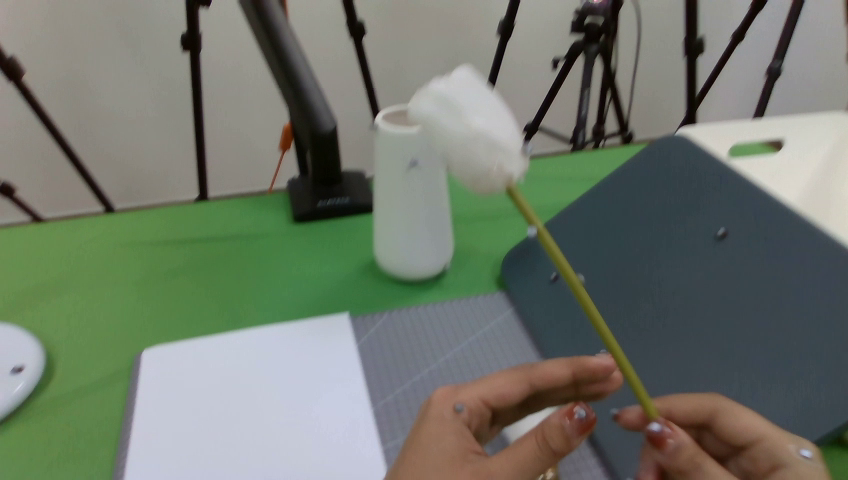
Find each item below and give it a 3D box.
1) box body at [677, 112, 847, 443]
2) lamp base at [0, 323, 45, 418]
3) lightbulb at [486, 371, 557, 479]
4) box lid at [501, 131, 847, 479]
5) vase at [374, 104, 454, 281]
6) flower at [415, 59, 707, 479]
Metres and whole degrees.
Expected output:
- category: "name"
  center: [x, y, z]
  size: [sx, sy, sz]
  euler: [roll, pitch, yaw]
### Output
- category: "box body"
  center: [0.443, 0.016, 0.622]
  size: [0.255, 0.162, 0.360]
  euler: [-8, 35, -9]
- category: "lamp base"
  center: [-0.464, 0.070, 0.541]
  size: [0.178, 0.182, 0.160]
  euler: [20, 39, 32]
- category: "lightbulb"
  center: [0.087, 0.162, 0.510]
  size: [0.059, 0.060, 0.106]
  euler: [-6, 50, -7]
- category: "box lid"
  center: [0.228, 0.051, 0.566]
  size: [0.263, 0.015, 0.367]
  euler: [-39, 34, 12]
- category: "vase"
  center: [-0.015, -0.051, 0.697]
  size: [0.098, 0.201, 0.097]
  euler: [-2, 33, 1]
- category: "flower"
  center: [0.107, 0.073, 0.296]
  size: [0.038, 0.362, 0.044]
  euler: [-27, 10, 42]
